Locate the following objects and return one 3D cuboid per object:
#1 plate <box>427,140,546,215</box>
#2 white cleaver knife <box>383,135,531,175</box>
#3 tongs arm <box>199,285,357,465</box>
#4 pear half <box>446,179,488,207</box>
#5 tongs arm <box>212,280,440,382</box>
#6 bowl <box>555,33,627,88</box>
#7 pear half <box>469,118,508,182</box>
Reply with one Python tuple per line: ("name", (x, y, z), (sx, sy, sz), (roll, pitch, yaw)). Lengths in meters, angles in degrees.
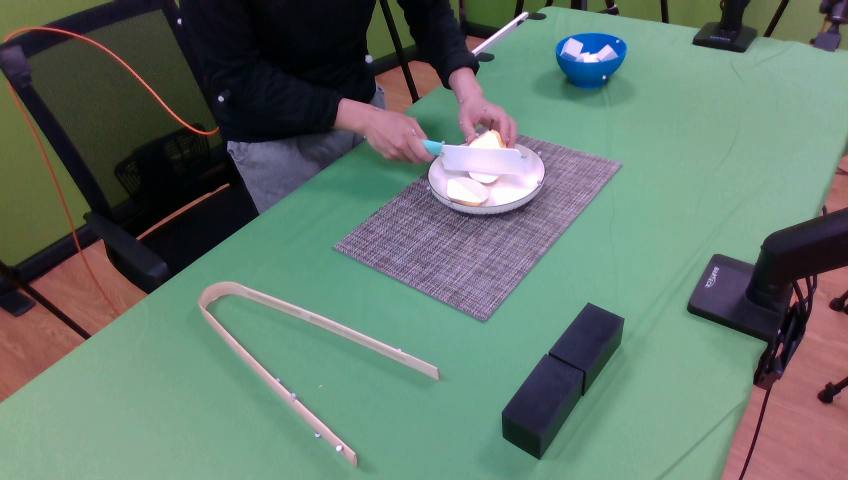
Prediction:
("plate", (0.109, -0.107, 1.058), (0.207, 0.039, 0.206), (-4, 40, 4))
("white cleaver knife", (0.047, -0.144, 1.042), (0.284, 0.066, 0.021), (12, 52, 32))
("tongs arm", (-0.199, 0.162, 0.797), (0.381, 0.026, 0.051), (28, 50, 35))
("pear half", (0.068, -0.073, 1.018), (0.070, 0.031, 0.088), (32, 37, 33))
("tongs arm", (-0.148, 0.121, 0.846), (0.385, 0.028, 0.028), (17, 48, 25))
("bowl", (0.360, -0.384, 1.317), (0.151, 0.077, 0.150), (-4, 41, 4))
("pear half", (0.116, -0.160, 1.046), (0.076, 0.110, 0.056), (18, 32, 14))
